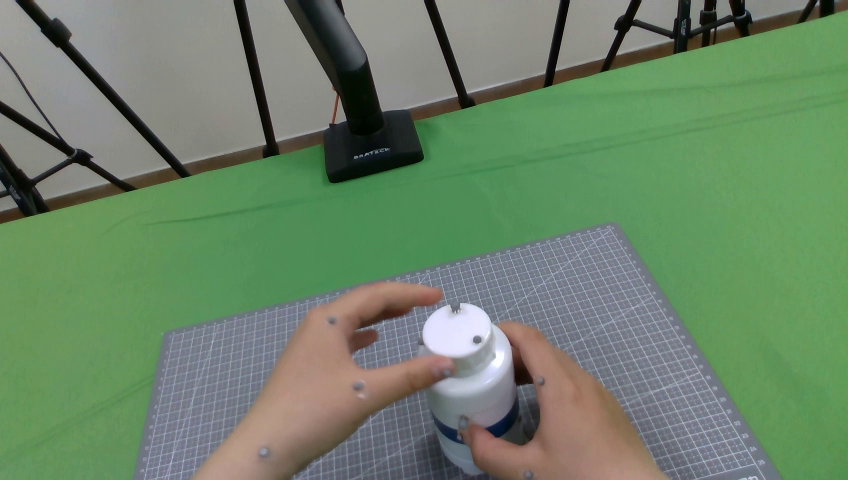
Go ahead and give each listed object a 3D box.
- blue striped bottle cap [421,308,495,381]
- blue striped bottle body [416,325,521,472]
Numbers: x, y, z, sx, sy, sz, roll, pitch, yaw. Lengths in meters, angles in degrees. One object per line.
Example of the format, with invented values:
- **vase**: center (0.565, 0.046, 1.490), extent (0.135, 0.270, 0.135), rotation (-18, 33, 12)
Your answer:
- **blue striped bottle cap**: center (0.021, 0.063, 0.374), extent (0.044, 0.021, 0.044), rotation (-7, 40, 6)
- **blue striped bottle body**: center (0.031, 0.100, 0.408), extent (0.063, 0.122, 0.062), rotation (-7, 43, 7)
